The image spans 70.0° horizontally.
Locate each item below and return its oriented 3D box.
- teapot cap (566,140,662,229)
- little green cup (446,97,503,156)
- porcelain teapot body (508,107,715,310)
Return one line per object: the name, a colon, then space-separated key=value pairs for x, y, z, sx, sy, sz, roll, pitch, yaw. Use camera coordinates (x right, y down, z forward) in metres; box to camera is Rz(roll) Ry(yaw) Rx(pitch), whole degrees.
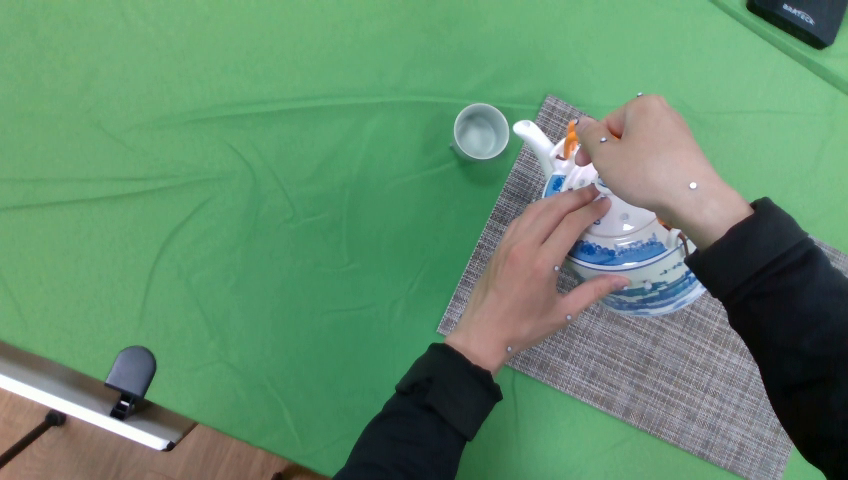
teapot cap: x=0.161 y=-0.050 z=0.518 sx=0.085 sy=0.084 sz=0.044 roll=-57 pitch=140 yaw=-7
little green cup: x=0.053 y=-0.122 z=0.666 sx=0.062 sy=0.038 sz=0.061 roll=1 pitch=86 yaw=-9
porcelain teapot body: x=0.160 y=-0.048 z=0.568 sx=0.145 sy=0.228 sz=0.203 roll=-49 pitch=52 yaw=0
